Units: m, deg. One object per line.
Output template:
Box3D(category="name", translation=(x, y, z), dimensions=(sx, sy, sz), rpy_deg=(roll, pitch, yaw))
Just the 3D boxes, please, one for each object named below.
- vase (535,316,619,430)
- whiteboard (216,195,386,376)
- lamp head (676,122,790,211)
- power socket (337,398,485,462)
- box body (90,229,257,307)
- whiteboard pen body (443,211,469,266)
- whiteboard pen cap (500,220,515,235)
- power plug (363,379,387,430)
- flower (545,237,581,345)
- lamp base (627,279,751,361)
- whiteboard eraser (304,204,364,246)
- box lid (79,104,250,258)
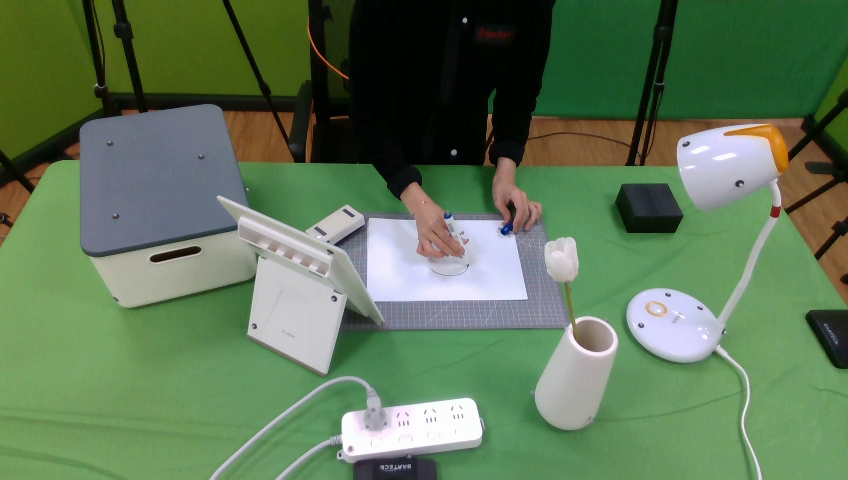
Box3D(category="vase", translation=(0.229, 0.200, 0.901), dimensions=(0.098, 0.201, 0.097), rpy_deg=(3, 46, -3))
Box3D(category="whiteboard", translation=(-0.212, 0.093, 0.939), dimensions=(0.216, 0.307, 0.143), rpy_deg=(24, 70, 17))
Box3D(category="lamp head", translation=(0.423, -0.104, 0.819), dimensions=(0.122, 0.113, 0.112), rpy_deg=(-13, 33, 40))
Box3D(category="power socket", translation=(-0.018, 0.285, 0.914), dimensions=(0.227, 0.033, 0.071), rpy_deg=(-4, 46, -8))
Box3D(category="box body", translation=(-0.471, -0.070, 1.131), dimensions=(0.254, 0.161, 0.361), rpy_deg=(-14, 49, -17))
Box3D(category="whiteboard pen body", translation=(0.063, 0.001, 1.120), dimensions=(0.017, 0.141, 0.017), rpy_deg=(-14, 41, 13))
Box3D(category="whiteboard pen cap", translation=(0.169, -0.024, 1.234), dimensions=(0.018, 0.018, 0.033), rpy_deg=(31, 57, 23))
Box3D(category="power plug", translation=(-0.071, 0.252, 0.911), dimensions=(0.035, 0.053, 0.072), rpy_deg=(3, 40, 0))
Box3D(category="flower", translation=(0.213, 0.137, 0.846), dimensions=(0.038, 0.364, 0.044), rpy_deg=(21, 55, 40))
Box3D(category="lamp base", translation=(0.460, 0.100, 1.027), dimensions=(0.178, 0.181, 0.160), rpy_deg=(27, 51, 17))
Box3D(category="whiteboard eraser", translation=(-0.175, -0.022, 1.188), dimensions=(0.055, 0.042, 0.112), rpy_deg=(36, 53, 26))
Box3D(category="box lid", translation=(-0.467, -0.120, 1.075), dimensions=(0.264, 0.015, 0.369), rpy_deg=(-13, 49, -17))
